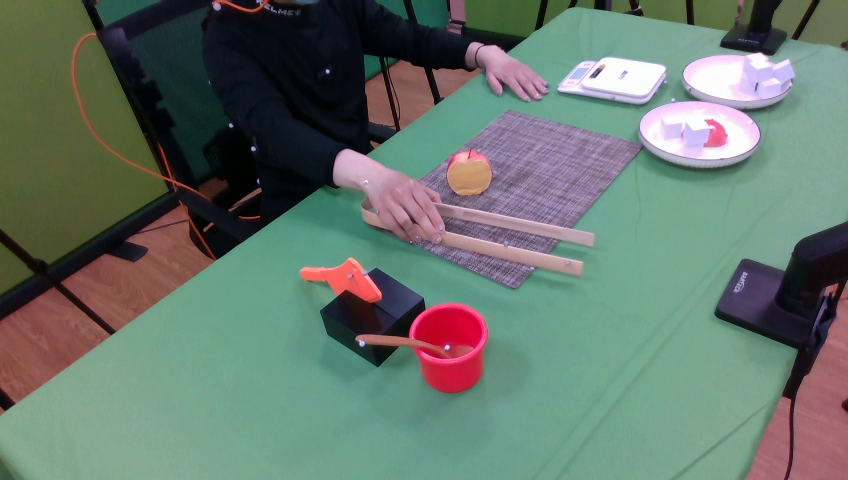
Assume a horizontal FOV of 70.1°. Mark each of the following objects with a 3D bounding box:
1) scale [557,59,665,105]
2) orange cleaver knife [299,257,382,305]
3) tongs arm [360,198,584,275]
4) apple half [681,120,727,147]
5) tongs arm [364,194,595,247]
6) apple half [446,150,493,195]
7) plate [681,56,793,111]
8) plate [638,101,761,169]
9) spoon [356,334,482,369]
[{"bbox_3d":[0.406,-0.348,1.314,0.199,0.032,0.149,19,47,28],"label":"scale"},{"bbox_3d":[-0.124,0.061,0.872,0.012,0.077,0.210,-38,17,-29],"label":"orange cleaver knife"},{"bbox_3d":[0.063,-0.009,0.954,0.383,0.026,0.051,12,42,20],"label":"tongs arm"},{"bbox_3d":[0.518,-0.202,1.115,0.081,0.033,0.081,-1,40,2],"label":"apple half"},{"bbox_3d":[0.081,-0.033,0.984,0.386,0.028,0.028,11,45,19],"label":"tongs arm"},{"bbox_3d":[0.080,-0.123,1.065,0.081,0.075,0.053,-7,37,7],"label":"apple half"},{"bbox_3d":[0.636,-0.317,1.239,0.207,0.039,0.206,-4,40,4],"label":"plate"},{"bbox_3d":[0.500,-0.189,1.111,0.209,0.038,0.208,-4,41,4],"label":"plate"},{"bbox_3d":[-0.002,0.130,0.731,0.195,0.021,0.041,21,28,-39],"label":"spoon"}]
